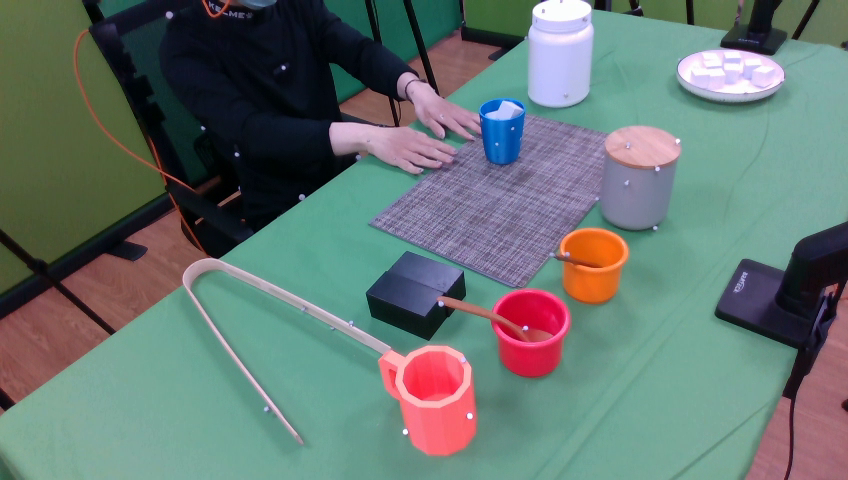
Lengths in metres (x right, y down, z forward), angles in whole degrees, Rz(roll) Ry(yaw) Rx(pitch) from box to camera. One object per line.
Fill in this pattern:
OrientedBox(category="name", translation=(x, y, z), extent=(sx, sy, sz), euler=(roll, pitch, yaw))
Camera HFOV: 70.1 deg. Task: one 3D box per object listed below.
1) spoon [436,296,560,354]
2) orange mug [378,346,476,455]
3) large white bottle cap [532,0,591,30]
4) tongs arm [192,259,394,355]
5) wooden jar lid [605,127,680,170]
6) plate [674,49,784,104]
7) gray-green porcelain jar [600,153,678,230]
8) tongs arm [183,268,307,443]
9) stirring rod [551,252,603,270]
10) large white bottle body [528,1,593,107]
OrientedBox(category="spoon", translation=(0.095, 0.102, 0.750), extent=(0.195, 0.021, 0.041), euler=(28, 30, -28))
OrientedBox(category="orange mug", translation=(0.002, 0.179, 0.708), extent=(0.125, 0.101, 0.083), euler=(25, 50, 27))
OrientedBox(category="large white bottle cap", translation=(0.274, -0.450, 1.204), extent=(0.115, 0.018, 0.114), euler=(-4, 41, 4))
OrientedBox(category="tongs arm", translation=(-0.205, 0.100, 0.881), extent=(0.382, 0.026, 0.051), euler=(23, 54, 32))
OrientedBox(category="wooden jar lid", translation=(0.327, -0.134, 0.909), extent=(0.108, 0.021, 0.108), euler=(-2, 43, 2))
OrientedBox(category="plate", translation=(0.631, -0.336, 1.262), extent=(0.207, 0.039, 0.206), euler=(-4, 41, 4))
OrientedBox(category="gray-green porcelain jar", translation=(0.334, -0.088, 0.949), extent=(0.106, 0.127, 0.105), euler=(-4, 40, 4))
OrientedBox(category="tongs arm", translation=(-0.260, 0.147, 0.841), extent=(0.028, 0.028, 0.384), euler=(-37, 48, -19))
OrientedBox(category="stirring rod", translation=(0.211, 0.029, 0.822), extent=(0.014, 0.006, 0.177), euler=(32, 11, 33))
OrientedBox(category="large white bottle body", translation=(0.282, -0.386, 1.259), extent=(0.130, 0.185, 0.130), euler=(-5, 41, 4))
